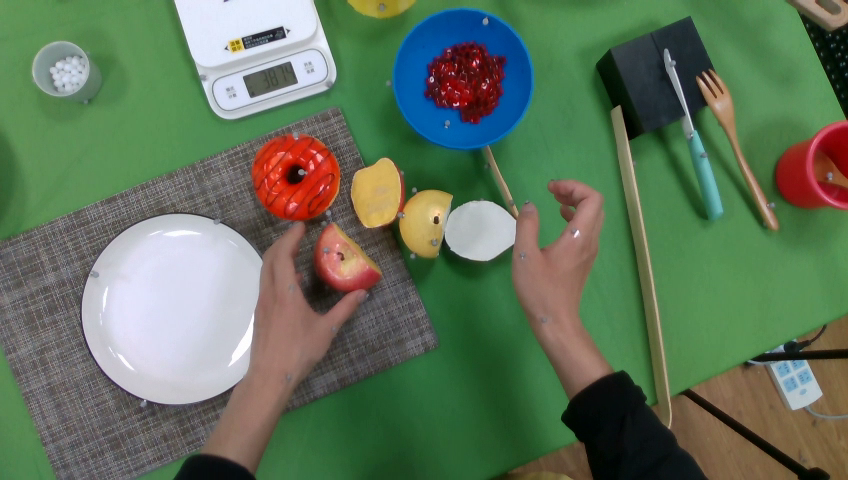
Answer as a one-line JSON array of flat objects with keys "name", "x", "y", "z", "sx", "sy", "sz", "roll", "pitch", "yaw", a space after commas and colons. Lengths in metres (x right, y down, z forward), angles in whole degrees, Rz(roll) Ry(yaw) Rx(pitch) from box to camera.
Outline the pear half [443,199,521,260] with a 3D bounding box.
[{"name": "pear half", "x": 0.067, "y": -0.010, "z": 0.690, "sx": 0.088, "sy": 0.031, "sz": 0.070, "roll": 4, "pitch": 85, "yaw": 12}]

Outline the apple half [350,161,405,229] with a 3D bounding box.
[{"name": "apple half", "x": -0.045, "y": -0.051, "z": 0.683, "sx": 0.080, "sy": 0.033, "sz": 0.082, "roll": 14, "pitch": 114, "yaw": 36}]

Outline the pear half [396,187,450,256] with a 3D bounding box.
[{"name": "pear half", "x": -0.002, "y": -0.023, "z": 0.650, "sx": 0.056, "sy": 0.110, "sz": 0.076, "roll": 9, "pitch": 83, "yaw": -1}]

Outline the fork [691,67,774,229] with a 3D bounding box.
[{"name": "fork", "x": 0.356, "y": -0.101, "z": 0.691, "sx": 0.028, "sy": 0.018, "sz": 0.208, "roll": -33, "pitch": 105, "yaw": -5}]

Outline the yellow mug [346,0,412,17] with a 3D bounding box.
[{"name": "yellow mug", "x": -0.066, "y": -0.321, "z": 0.678, "sx": 0.131, "sy": 0.064, "sz": 0.100, "roll": 35, "pitch": 87, "yaw": 0}]

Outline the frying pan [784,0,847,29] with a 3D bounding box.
[{"name": "frying pan", "x": 0.260, "y": -0.385, "z": 0.676, "sx": 0.486, "sy": 0.103, "sz": 0.306, "roll": 40, "pitch": 88, "yaw": 7}]

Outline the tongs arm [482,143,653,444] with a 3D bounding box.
[{"name": "tongs arm", "x": 0.163, "y": 0.058, "z": 0.692, "sx": 0.051, "sy": 0.026, "sz": 0.384, "roll": -23, "pitch": 90, "yaw": -6}]

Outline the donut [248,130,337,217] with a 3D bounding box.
[{"name": "donut", "x": -0.146, "y": -0.073, "z": 0.674, "sx": 0.099, "sy": 0.048, "sz": 0.099, "roll": 0, "pitch": 89, "yaw": 0}]

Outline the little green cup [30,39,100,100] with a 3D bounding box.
[{"name": "little green cup", "x": -0.396, "y": -0.187, "z": 0.673, "sx": 0.061, "sy": 0.038, "sz": 0.061, "roll": 0, "pitch": 88, "yaw": -2}]

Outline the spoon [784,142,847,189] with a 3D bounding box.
[{"name": "spoon", "x": 0.471, "y": -0.050, "z": 0.655, "sx": 0.041, "sy": 0.022, "sz": 0.191, "roll": -29, "pitch": 45, "yaw": -3}]

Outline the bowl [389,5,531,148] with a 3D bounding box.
[{"name": "bowl", "x": 0.037, "y": -0.170, "z": 0.672, "sx": 0.151, "sy": 0.077, "sz": 0.151, "roll": 0, "pitch": 89, "yaw": -3}]

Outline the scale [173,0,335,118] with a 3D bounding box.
[{"name": "scale", "x": -0.199, "y": -0.252, "z": 0.687, "sx": 0.149, "sy": 0.031, "sz": 0.200, "roll": -19, "pitch": 90, "yaw": -2}]

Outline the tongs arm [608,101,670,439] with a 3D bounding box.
[{"name": "tongs arm", "x": 0.245, "y": 0.033, "z": 0.699, "sx": 0.028, "sy": 0.027, "sz": 0.387, "roll": -8, "pitch": 89, "yaw": -10}]

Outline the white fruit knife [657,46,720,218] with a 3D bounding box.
[{"name": "white fruit knife", "x": 0.296, "y": -0.118, "z": 0.681, "sx": 0.016, "sy": 0.027, "sz": 0.208, "roll": -25, "pitch": 104, "yaw": -3}]

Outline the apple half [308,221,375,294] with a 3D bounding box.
[{"name": "apple half", "x": -0.096, "y": 0.026, "z": 0.659, "sx": 0.053, "sy": 0.074, "sz": 0.081, "roll": -36, "pitch": 96, "yaw": -3}]

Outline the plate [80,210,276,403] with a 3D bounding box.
[{"name": "plate", "x": -0.264, "y": 0.072, "z": 0.667, "sx": 0.209, "sy": 0.038, "sz": 0.209, "roll": 0, "pitch": 88, "yaw": -2}]
